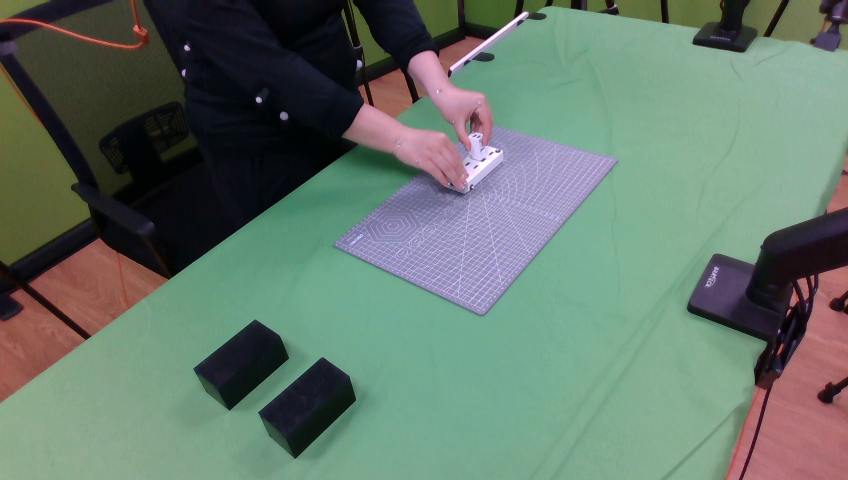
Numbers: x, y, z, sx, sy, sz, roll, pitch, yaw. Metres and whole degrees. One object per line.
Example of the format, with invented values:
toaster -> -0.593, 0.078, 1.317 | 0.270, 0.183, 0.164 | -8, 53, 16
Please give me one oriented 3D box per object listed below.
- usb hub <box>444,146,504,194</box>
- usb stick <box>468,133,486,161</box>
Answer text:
usb hub -> 0.092, -0.129, 1.103 | 0.049, 0.025, 0.125 | 24, 50, 31
usb stick -> 0.096, -0.163, 1.095 | 0.027, 0.059, 0.021 | 21, 48, 28
